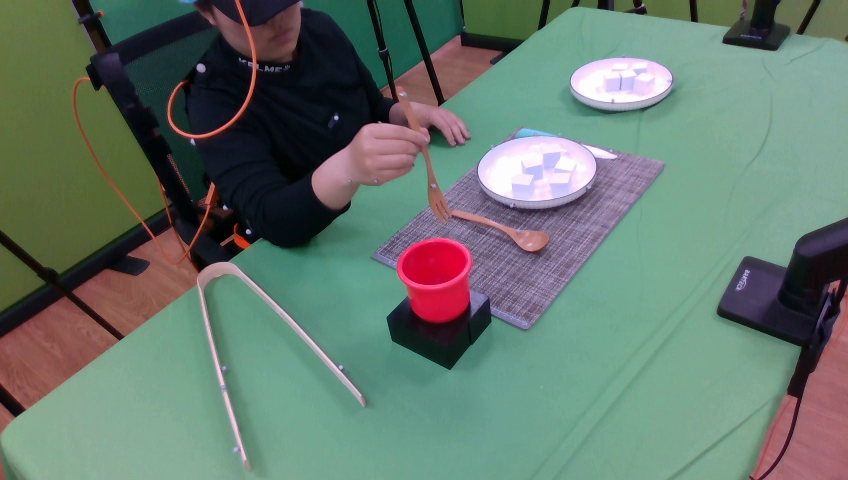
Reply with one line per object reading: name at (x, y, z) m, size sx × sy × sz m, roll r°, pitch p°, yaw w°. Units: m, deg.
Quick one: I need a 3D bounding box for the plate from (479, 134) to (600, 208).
plate at (0.202, -0.117, 1.065) m, size 0.207 × 0.039 × 0.206 m, roll -5°, pitch 40°, yaw 5°

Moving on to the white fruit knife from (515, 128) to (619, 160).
white fruit knife at (0.269, -0.182, 1.148) m, size 0.206 × 0.016 × 0.027 m, roll 21°, pitch 77°, yaw 29°

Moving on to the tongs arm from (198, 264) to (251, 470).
tongs arm at (-0.270, 0.154, 0.841) m, size 0.051 × 0.026 × 0.381 m, roll -23°, pitch 41°, yaw -17°

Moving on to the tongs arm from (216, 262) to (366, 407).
tongs arm at (-0.201, 0.122, 0.871) m, size 0.028 × 0.028 × 0.384 m, roll -36°, pitch 46°, yaw -24°

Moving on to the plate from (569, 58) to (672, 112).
plate at (0.411, -0.323, 1.274) m, size 0.209 × 0.038 × 0.208 m, roll -5°, pitch 41°, yaw 5°

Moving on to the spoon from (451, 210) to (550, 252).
spoon at (0.119, -0.022, 0.979) m, size 0.192 × 0.022 × 0.041 m, roll 24°, pitch 68°, yaw 33°

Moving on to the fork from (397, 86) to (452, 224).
fork at (0.001, -0.111, 0.822) m, size 0.028 × 0.208 × 0.018 m, roll -38°, pitch 37°, yaw -28°
